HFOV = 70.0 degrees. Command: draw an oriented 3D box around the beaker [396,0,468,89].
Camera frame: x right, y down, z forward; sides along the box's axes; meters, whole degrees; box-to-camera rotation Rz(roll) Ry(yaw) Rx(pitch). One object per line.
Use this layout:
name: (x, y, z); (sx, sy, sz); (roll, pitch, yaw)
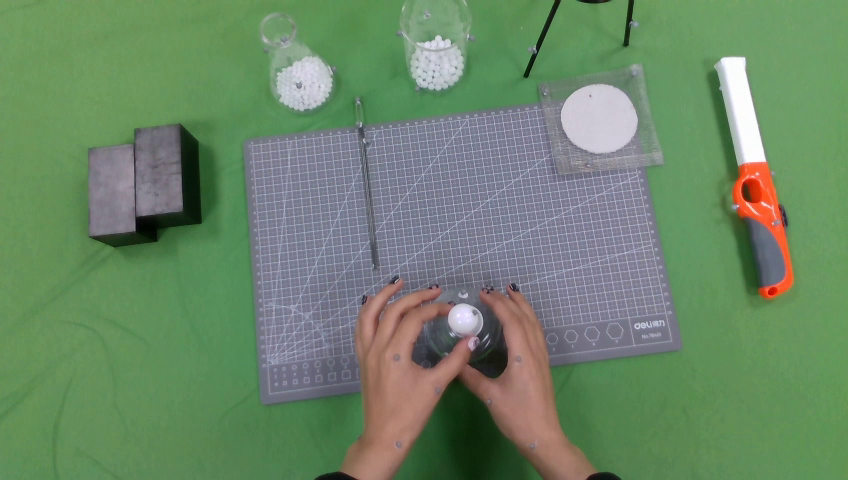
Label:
beaker: (0.009, -0.222, 0.671); (0.074, 0.100, 0.083); (-5, 77, 0)

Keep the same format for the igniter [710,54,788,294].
igniter: (0.360, -0.078, 0.673); (0.057, 0.025, 0.275); (-4, 79, -10)

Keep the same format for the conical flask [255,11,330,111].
conical flask: (-0.148, -0.197, 0.657); (0.075, 0.122, 0.075); (0, 78, 1)

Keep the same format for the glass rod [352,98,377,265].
glass rod: (-0.068, -0.069, 0.683); (0.008, 0.008, 0.198); (-8, 78, -1)

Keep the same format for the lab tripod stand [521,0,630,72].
lab tripod stand: (0.163, -0.262, 0.659); (0.148, 0.132, 0.148); (0, 80, 1)

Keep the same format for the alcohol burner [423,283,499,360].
alcohol burner: (0.037, 0.080, 0.600); (0.078, 0.119, 0.077); (0, 80, 2)

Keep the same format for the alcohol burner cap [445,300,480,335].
alcohol burner cap: (0.034, 0.070, 0.563); (0.034, 0.048, 0.033); (-2, 77, 8)

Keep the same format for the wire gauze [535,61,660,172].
wire gauze: (0.198, -0.141, 0.696); (0.125, 0.011, 0.121); (-8, 79, -1)
